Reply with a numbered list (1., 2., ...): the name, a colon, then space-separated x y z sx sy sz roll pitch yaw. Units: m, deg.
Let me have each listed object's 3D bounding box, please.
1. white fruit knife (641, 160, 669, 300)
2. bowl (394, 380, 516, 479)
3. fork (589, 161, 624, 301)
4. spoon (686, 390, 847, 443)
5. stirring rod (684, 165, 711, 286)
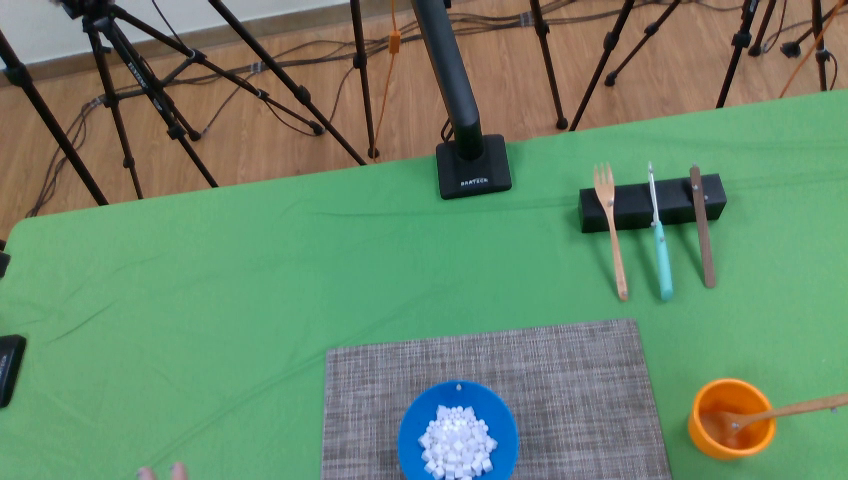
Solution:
1. white fruit knife: 0.331 -0.018 0.876 0.016 0.027 0.206 -5 77 4
2. bowl: 0.043 0.263 0.771 0.151 0.077 0.150 -5 60 8
3. fork: 0.270 -0.014 0.887 0.028 0.019 0.206 -8 80 3
4. spoon: 0.397 0.203 0.705 0.022 0.194 0.041 18 55 -31
5. stirring rod: 0.393 -0.022 0.871 0.014 0.006 0.175 -8 86 14
